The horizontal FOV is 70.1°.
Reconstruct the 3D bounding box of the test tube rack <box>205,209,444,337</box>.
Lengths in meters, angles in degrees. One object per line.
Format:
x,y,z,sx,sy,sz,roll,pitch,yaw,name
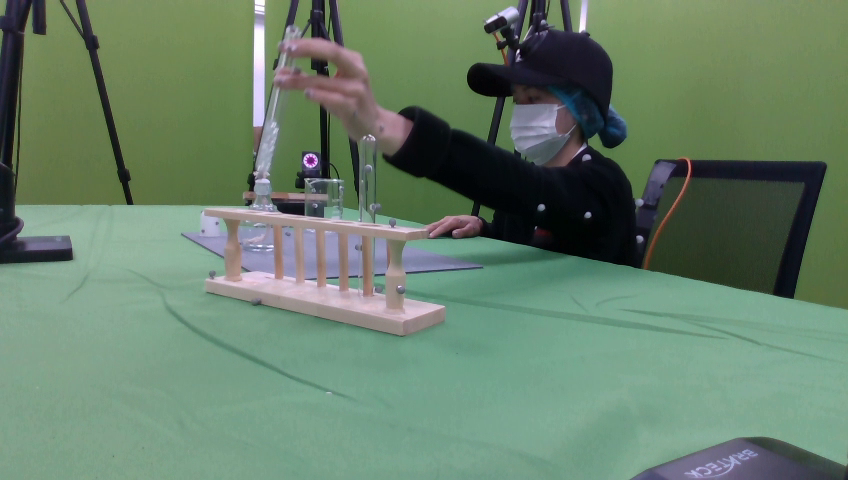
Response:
-0.100,0.021,0.565,0.241,0.085,0.067,7,9,32,test tube rack

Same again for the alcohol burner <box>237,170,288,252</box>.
-0.236,-0.042,0.882,0.078,0.119,0.078,2,9,0,alcohol burner

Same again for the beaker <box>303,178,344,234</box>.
-0.189,-0.063,1.119,0.073,0.100,0.084,6,9,28,beaker

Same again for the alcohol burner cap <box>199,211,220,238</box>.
-0.356,-0.027,1.002,0.034,0.048,0.034,2,7,0,alcohol burner cap

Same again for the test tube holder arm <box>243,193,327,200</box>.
-0.287,-0.090,1.261,0.179,0.015,0.013,-2,2,-33,test tube holder arm

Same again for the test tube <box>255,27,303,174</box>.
-0.145,-0.139,0.603,0.017,0.150,0.017,13,-4,1,test tube

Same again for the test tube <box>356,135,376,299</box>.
-0.053,-0.019,0.550,0.017,0.150,0.017,2,9,0,test tube

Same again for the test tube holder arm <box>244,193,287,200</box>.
-0.322,-0.089,1.232,0.088,0.015,0.010,-2,2,-32,test tube holder arm
